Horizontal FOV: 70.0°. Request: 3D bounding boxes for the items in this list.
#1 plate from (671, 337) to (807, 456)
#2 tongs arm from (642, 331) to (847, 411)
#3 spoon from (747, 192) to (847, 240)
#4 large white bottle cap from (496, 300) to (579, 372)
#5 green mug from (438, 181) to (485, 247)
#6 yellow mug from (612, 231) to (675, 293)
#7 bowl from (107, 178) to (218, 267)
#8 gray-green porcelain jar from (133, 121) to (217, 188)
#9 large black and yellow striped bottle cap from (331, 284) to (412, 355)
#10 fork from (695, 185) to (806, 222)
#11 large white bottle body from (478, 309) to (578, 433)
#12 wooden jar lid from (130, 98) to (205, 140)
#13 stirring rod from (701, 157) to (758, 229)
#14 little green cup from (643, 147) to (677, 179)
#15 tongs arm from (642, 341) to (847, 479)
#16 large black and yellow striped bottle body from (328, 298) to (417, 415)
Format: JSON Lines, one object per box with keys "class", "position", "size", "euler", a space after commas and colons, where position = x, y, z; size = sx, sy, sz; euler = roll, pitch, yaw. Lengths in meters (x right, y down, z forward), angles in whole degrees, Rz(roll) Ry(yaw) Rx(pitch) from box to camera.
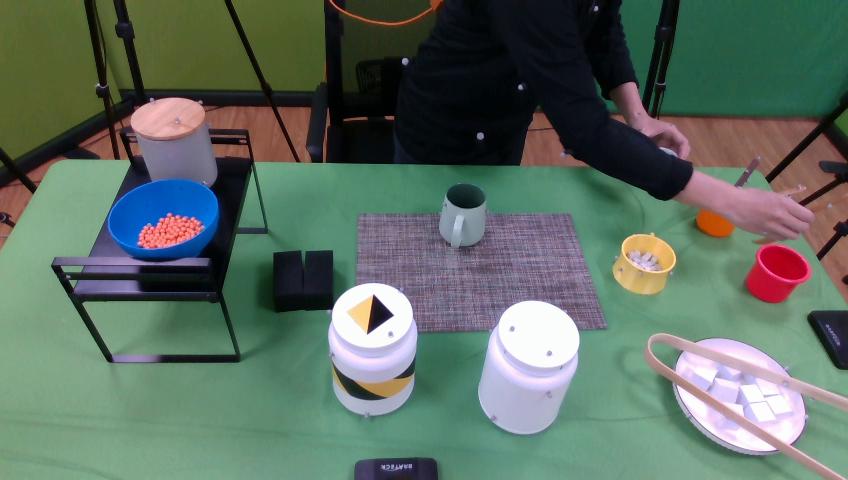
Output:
{"class": "plate", "position": [0.503, 0.254, 0.984], "size": [0.208, 0.039, 0.206], "euler": [2, 46, -2]}
{"class": "tongs arm", "position": [0.546, 0.227, 0.968], "size": [0.384, 0.026, 0.050], "euler": [22, 52, 13]}
{"class": "spoon", "position": [0.627, -0.039, 1.027], "size": [0.042, 0.194, 0.021], "euler": [-6, 67, -19]}
{"class": "large white bottle cap", "position": [0.160, 0.133, 0.852], "size": [0.115, 0.018, 0.114], "euler": [3, 46, -2]}
{"class": "green mug", "position": [0.071, -0.039, 1.177], "size": [0.092, 0.105, 0.124], "euler": [12, 47, 7]}
{"class": "yellow mug", "position": [0.424, 0.033, 1.168], "size": [0.100, 0.064, 0.130], "euler": [18, 47, 13]}
{"class": "bowl", "position": [-0.374, -0.014, 0.893], "size": [0.151, 0.077, 0.150], "euler": [2, 46, -2]}
{"class": "gray-green porcelain jar", "position": [-0.397, -0.141, 0.980], "size": [0.106, 0.127, 0.105], "euler": [2, 47, -2]}
{"class": "large black and yellow striped bottle cap", "position": [-0.073, 0.110, 0.858], "size": [0.115, 0.019, 0.114], "euler": [2, 46, -2]}
{"class": "fork", "position": [0.658, -0.074, 1.229], "size": [0.207, 0.019, 0.028], "euler": [-23, 35, 37]}
{"class": "large white bottle body", "position": [0.156, 0.192, 0.913], "size": [0.131, 0.185, 0.130], "euler": [2, 46, -2]}
{"class": "wooden jar lid", "position": [-0.393, -0.183, 0.934], "size": [0.108, 0.021, 0.107], "euler": [2, 44, -2]}
{"class": "stirring rod", "position": [0.634, -0.097, 1.257], "size": [0.014, 0.006, 0.176], "euler": [38, 97, 29]}
{"class": "little green cup", "position": [0.470, -0.152, 1.212], "size": [0.061, 0.039, 0.061], "euler": [3, 46, -2]}
{"class": "tongs arm", "position": [0.504, 0.278, 0.918], "size": [0.386, 0.028, 0.028], "euler": [34, 59, 22]}
{"class": "large black and yellow striped bottle body", "position": [-0.078, 0.167, 0.920], "size": [0.131, 0.185, 0.130], "euler": [2, 46, -2]}
